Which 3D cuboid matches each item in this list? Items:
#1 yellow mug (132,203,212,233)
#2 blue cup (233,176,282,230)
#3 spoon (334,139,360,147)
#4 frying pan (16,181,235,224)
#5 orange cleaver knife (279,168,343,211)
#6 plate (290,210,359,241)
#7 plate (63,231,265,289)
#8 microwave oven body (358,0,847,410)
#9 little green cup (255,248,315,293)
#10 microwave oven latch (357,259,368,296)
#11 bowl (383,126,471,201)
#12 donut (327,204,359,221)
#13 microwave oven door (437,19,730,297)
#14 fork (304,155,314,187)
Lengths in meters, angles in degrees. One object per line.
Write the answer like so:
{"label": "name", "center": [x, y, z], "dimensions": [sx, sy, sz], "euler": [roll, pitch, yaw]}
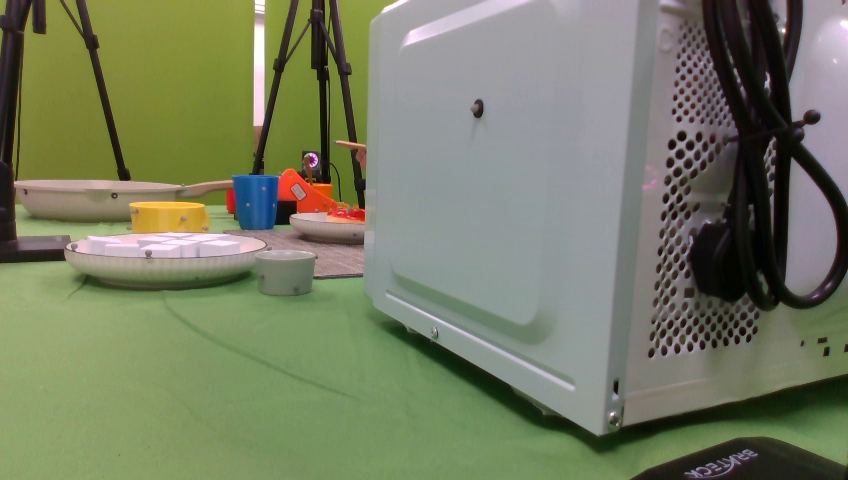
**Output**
{"label": "yellow mug", "center": [-0.356, -0.020, 0.878], "dimensions": [0.099, 0.064, 0.131], "euler": [4, 7, 22]}
{"label": "blue cup", "center": [-0.314, -0.071, 1.141], "dimensions": [0.093, 0.100, 0.092], "euler": [0, 7, 0]}
{"label": "spoon", "center": [-0.081, -0.156, 1.059], "dimensions": [0.193, 0.021, 0.042], "euler": [22, 23, 27]}
{"label": "frying pan", "center": [-0.554, -0.097, 1.266], "dimensions": [0.490, 0.102, 0.305], "euler": [-10, 13, -24]}
{"label": "orange cleaver knife", "center": [-0.236, -0.084, 1.333], "dimensions": [0.212, 0.077, 0.012], "euler": [31, -10, -32]}
{"label": "plate", "center": [-0.127, -0.026, 1.051], "dimensions": [0.209, 0.038, 0.209], "euler": [3, 7, 0]}
{"label": "plate", "center": [-0.288, 0.021, 0.687], "dimensions": [0.208, 0.039, 0.207], "euler": [2, 8, 0]}
{"label": "microwave oven body", "center": [0.210, -0.051, 0.471], "dimensions": [0.444, 0.260, 0.324], "euler": [-1, 7, -28]}
{"label": "little green cup", "center": [-0.144, 0.031, 0.627], "dimensions": [0.061, 0.038, 0.061], "euler": [2, 6, 0]}
{"label": "microwave oven latch", "center": [-0.019, 0.031, 0.528], "dimensions": [0.079, 0.029, 0.030], "euler": [-1, 7, -25]}
{"label": "bowl", "center": [0.014, -0.116, 1.003], "dimensions": [0.151, 0.076, 0.151], "euler": [-16, -16, -5]}
{"label": "donut", "center": [-0.120, -0.037, 1.056], "dimensions": [0.099, 0.048, 0.099], "euler": [5, 6, 0]}
{"label": "microwave oven door", "center": [0.181, -0.076, 0.618], "dimensions": [0.358, 0.243, 0.039], "euler": [-2, 8, -28]}
{"label": "fork", "center": [-0.268, -0.134, 1.446], "dimensions": [0.028, 0.018, 0.207], "euler": [2, -36, -1]}
